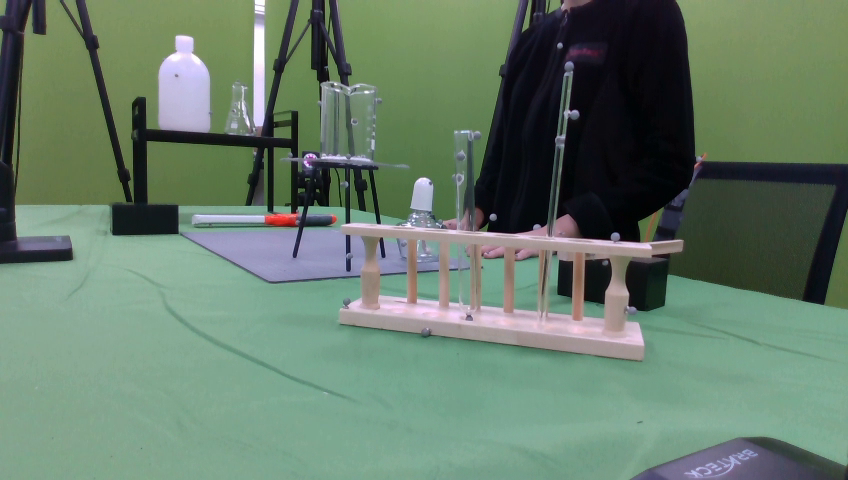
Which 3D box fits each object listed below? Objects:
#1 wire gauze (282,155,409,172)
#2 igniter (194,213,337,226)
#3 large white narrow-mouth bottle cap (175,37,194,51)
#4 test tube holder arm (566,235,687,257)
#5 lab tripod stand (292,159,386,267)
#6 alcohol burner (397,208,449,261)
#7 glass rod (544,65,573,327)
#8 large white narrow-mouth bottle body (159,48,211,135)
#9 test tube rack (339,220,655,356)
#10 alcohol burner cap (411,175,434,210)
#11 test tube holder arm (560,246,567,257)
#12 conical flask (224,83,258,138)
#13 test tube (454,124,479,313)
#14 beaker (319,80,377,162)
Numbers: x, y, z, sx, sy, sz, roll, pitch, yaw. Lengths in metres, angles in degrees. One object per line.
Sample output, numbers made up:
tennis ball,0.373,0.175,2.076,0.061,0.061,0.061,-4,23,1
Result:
wire gauze,-0.104,-0.103,0.785,0.126,0.011,0.121,1,8,-39
igniter,-0.306,-0.041,1.197,0.278,0.025,0.057,-2,-2,-30
large white narrow-mouth bottle cap,-0.501,-0.409,1.264,0.038,0.024,0.037,2,7,0
test tube holder arm,0.215,0.006,0.630,0.179,0.015,0.013,-3,9,-31
lab tripod stand,-0.105,-0.039,0.797,0.148,0.131,0.148,2,5,0
alcohol burner,-0.002,-0.031,0.846,0.078,0.119,0.078,0,6,0
glass rod,0.101,-0.028,0.453,0.008,0.199,0.008,2,13,0
large white narrow-mouth bottle body,-0.503,-0.323,1.275,0.102,0.194,0.102,2,7,0
test tube rack,0.056,0.032,0.495,0.242,0.085,0.067,4,7,15
alcohol burner cap,0.000,-0.067,0.842,0.034,0.048,0.034,8,8,-1
test tube holder arm,0.173,0.007,0.612,0.088,0.015,0.010,-3,9,-30
conical flask,-0.422,-0.299,1.395,0.075,0.122,0.075,2,7,0
test tube,0.034,-0.015,0.477,0.017,0.150,0.017,-2,9,1
beaker,-0.098,-0.150,0.777,0.074,0.100,0.084,1,7,-8
